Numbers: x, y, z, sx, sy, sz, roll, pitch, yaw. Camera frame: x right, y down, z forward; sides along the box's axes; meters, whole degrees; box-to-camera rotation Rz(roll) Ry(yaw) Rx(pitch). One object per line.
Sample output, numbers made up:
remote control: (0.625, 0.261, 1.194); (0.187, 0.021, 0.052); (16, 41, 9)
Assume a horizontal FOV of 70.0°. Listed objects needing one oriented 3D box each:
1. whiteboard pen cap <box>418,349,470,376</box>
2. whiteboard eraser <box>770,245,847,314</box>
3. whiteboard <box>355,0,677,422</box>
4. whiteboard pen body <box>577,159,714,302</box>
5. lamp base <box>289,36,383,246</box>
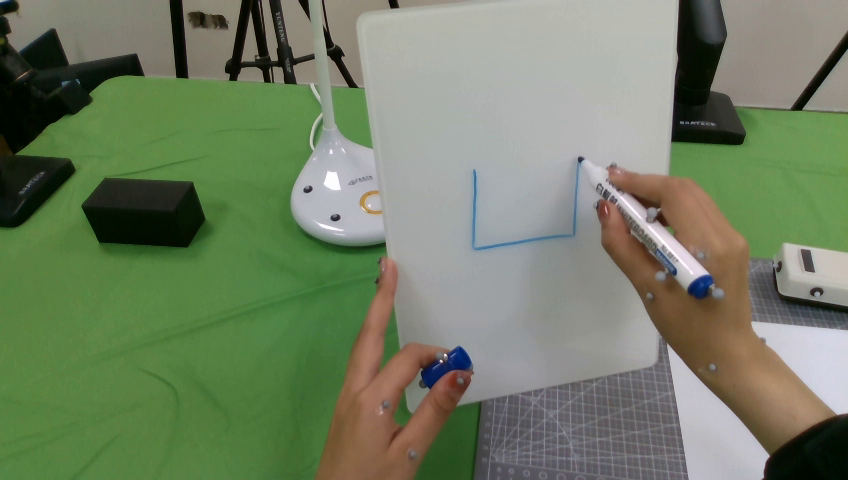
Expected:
whiteboard pen cap: (0.014, 0.081, 0.400); (0.033, 0.018, 0.018); (-4, 34, 35)
whiteboard eraser: (0.384, 0.041, 0.559); (0.112, 0.042, 0.055); (10, 41, 13)
whiteboard: (0.066, -0.036, 0.503); (0.217, 0.307, 0.142); (-9, 22, -7)
whiteboard pen body: (0.132, -0.013, 0.383); (0.017, 0.017, 0.139); (-13, 43, -13)
lamp base: (-0.082, -0.112, 0.644); (0.161, 0.182, 0.177); (-29, 46, -28)
